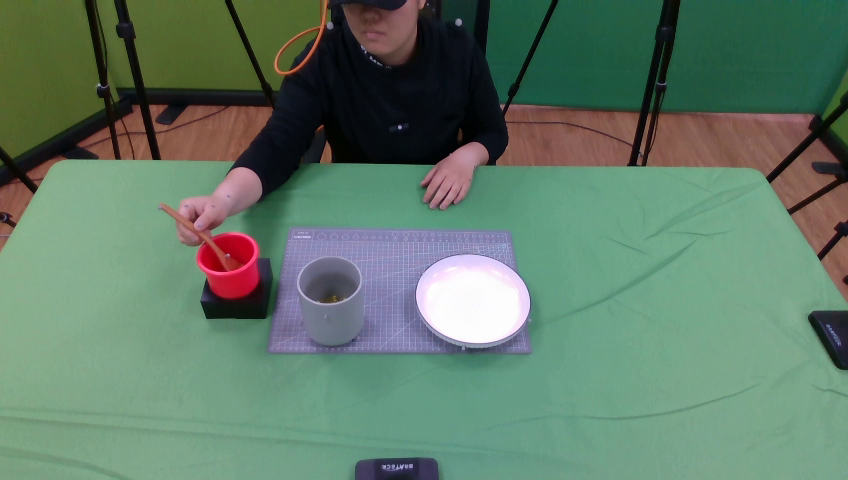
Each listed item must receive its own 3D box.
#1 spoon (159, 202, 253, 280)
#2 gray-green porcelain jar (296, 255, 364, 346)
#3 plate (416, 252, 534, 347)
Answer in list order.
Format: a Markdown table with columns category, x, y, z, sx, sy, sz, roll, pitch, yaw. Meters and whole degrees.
| category | x | y | z | sx | sy | sz | roll | pitch | yaw |
| --- | --- | --- | --- | --- | --- | --- | --- | --- | --- |
| spoon | -0.356 | 0.002 | 0.997 | 0.021 | 0.195 | 0.041 | -27 | 34 | 17 |
| gray-green porcelain jar | -0.154 | 0.106 | 1.008 | 0.106 | 0.127 | 0.105 | 2 | 46 | -2 |
| plate | 0.090 | 0.109 | 1.084 | 0.208 | 0.039 | 0.206 | 2 | 46 | -2 |
